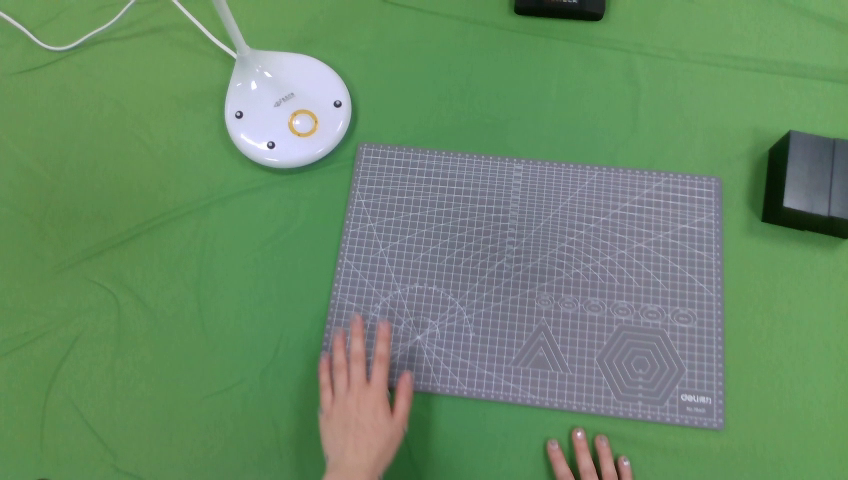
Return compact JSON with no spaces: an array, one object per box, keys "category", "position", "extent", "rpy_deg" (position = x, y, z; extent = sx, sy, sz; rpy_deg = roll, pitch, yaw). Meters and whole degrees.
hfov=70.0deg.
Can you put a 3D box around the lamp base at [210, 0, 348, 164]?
[{"category":"lamp base","position":[-0.190,-0.201,0.705],"extent":[0.178,0.181,0.160],"rpy_deg":[40,78,16]}]
